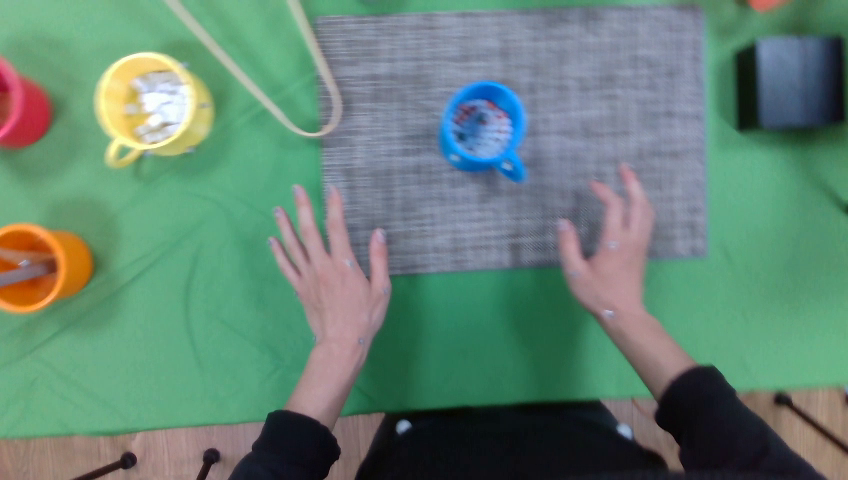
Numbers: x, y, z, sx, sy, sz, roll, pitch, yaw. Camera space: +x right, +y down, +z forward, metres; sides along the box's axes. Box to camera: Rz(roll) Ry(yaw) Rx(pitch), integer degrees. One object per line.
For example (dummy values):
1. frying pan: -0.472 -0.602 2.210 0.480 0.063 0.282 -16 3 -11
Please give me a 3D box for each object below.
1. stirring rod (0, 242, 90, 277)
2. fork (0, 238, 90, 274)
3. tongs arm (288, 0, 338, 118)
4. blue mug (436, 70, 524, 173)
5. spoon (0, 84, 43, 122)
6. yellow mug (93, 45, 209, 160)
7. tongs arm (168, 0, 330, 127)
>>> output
1. stirring rod: -0.441 0.031 0.629 0.176 0.006 0.014 -21 90 -43
2. fork: -0.452 -0.003 0.620 0.209 0.018 0.028 27 86 -47
3. tongs arm: -0.183 -0.315 0.654 0.028 0.027 0.389 -29 101 -9
4. blue mug: 0.067 -0.118 0.656 0.082 0.105 0.117 -42 94 0
5. spoon: -0.500 -0.152 0.613 0.195 0.021 0.041 1 97 -46
6. yellow mug: -0.304 -0.142 0.661 0.100 0.064 0.131 35 93 -5
7. tongs arm: -0.251 -0.264 0.651 0.051 0.026 0.386 -42 101 -3
